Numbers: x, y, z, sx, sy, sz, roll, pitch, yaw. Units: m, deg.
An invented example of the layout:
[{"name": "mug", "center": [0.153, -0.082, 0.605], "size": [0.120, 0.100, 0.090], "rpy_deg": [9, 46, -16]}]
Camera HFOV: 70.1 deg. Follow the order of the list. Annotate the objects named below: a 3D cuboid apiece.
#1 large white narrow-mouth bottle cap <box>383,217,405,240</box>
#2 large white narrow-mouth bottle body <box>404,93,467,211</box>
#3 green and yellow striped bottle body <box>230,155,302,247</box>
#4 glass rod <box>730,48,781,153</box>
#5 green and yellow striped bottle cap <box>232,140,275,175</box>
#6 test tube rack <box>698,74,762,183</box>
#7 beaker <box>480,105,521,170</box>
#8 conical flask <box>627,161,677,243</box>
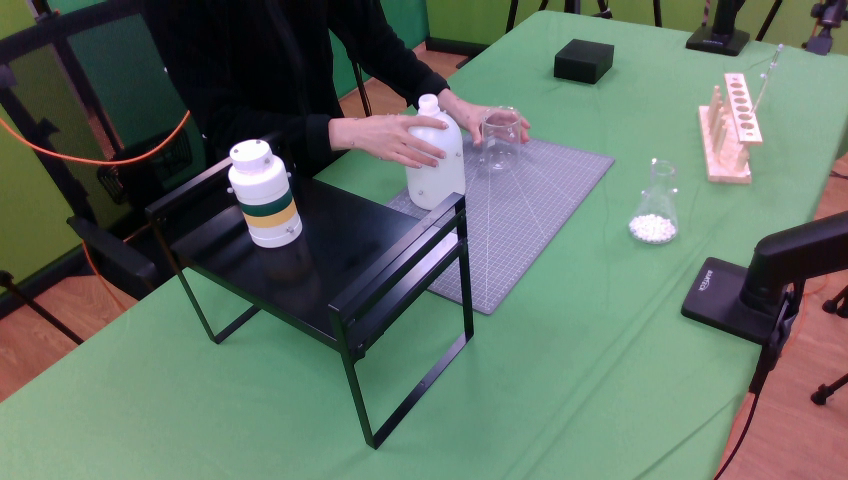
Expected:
[{"name": "large white narrow-mouth bottle cap", "center": [-0.051, -0.019, 1.004], "size": [0.038, 0.024, 0.037], "rpy_deg": [-4, 39, 4]}, {"name": "large white narrow-mouth bottle body", "center": [0.017, -0.152, 1.018], "size": [0.102, 0.195, 0.101], "rpy_deg": [-5, 38, 4]}, {"name": "green and yellow striped bottle body", "center": [-0.188, -0.055, 0.714], "size": [0.063, 0.120, 0.063], "rpy_deg": [-4, 41, 4]}, {"name": "glass rod", "center": [0.554, -0.228, 1.015], "size": [0.008, 0.200, 0.008], "rpy_deg": [1, 44, -1]}, {"name": "green and yellow striped bottle cap", "center": [-0.192, -0.093, 0.680], "size": [0.045, 0.020, 0.045], "rpy_deg": [-5, 39, 5]}, {"name": "test tube rack", "center": [0.547, -0.208, 1.095], "size": [0.066, 0.085, 0.242], "rpy_deg": [5, 42, 15]}, {"name": "beaker", "center": [0.145, -0.187, 1.112], "size": [0.084, 0.101, 0.073], "rpy_deg": [-35, 48, -29]}, {"name": "conical flask", "center": [0.355, -0.061, 0.921], "size": [0.075, 0.122, 0.075], "rpy_deg": [-4, 41, 4]}]
